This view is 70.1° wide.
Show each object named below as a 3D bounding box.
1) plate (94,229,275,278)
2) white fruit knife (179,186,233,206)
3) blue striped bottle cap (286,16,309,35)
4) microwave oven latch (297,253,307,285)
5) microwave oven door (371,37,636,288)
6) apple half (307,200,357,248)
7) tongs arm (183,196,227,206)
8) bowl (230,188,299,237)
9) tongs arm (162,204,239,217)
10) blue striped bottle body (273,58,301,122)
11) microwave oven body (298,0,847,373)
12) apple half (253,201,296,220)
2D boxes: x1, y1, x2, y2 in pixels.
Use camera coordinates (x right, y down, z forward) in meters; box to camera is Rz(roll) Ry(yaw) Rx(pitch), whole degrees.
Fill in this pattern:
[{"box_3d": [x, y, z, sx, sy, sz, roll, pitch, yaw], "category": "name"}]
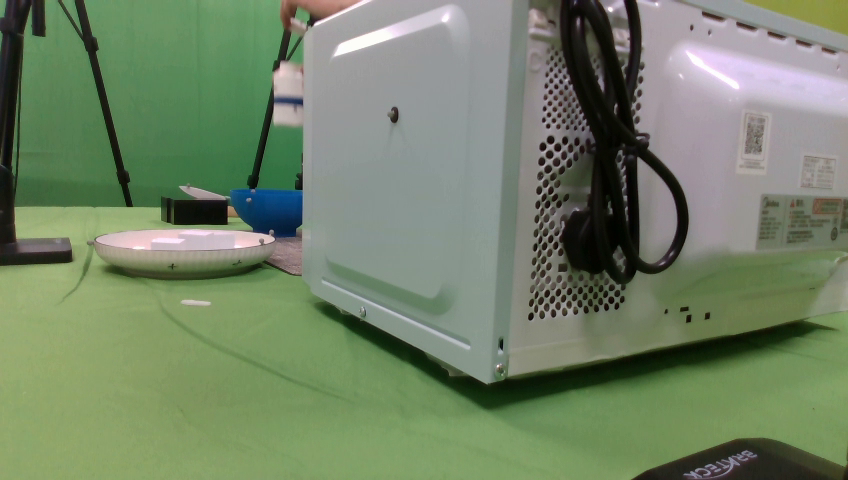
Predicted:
[{"box_3d": [-0.291, 0.016, 0.750, 0.208, 0.039, 0.207, 2, 7, 0], "category": "plate"}, {"box_3d": [-0.413, -0.081, 1.270, 0.208, 0.027, 0.016, 17, 13, -41], "category": "white fruit knife"}, {"box_3d": [-0.238, -0.407, 1.149, 0.045, 0.020, 0.044, 27, 21, -11], "category": "blue striped bottle cap"}, {"box_3d": [-0.081, 0.027, 0.582, 0.079, 0.029, 0.030, -1, 7, -32], "category": "microwave oven latch"}, {"box_3d": [0.109, -0.080, 0.686, 0.358, 0.243, 0.039, -2, 9, -33], "category": "microwave oven door"}, {"box_3d": [-0.135, -0.024, 0.941, 0.053, 0.074, 0.081, 13, 8, 39], "category": "apple half"}, {"box_3d": [-0.404, -0.081, 1.479, 0.385, 0.026, 0.050, 3, 9, -2], "category": "tongs arm"}, {"box_3d": [-0.265, -0.048, 1.066, 0.151, 0.077, 0.151, 3, 8, 0], "category": "bowl"}, {"box_3d": [-0.396, -0.066, 1.399, 0.389, 0.028, 0.028, 1, 6, -15], "category": "tongs arm"}, {"box_3d": [-0.266, -0.297, 1.196, 0.063, 0.120, 0.063, 2, 9, 0], "category": "blue striped bottle body"}, {"box_3d": [0.151, -0.055, 0.542, 0.444, 0.260, 0.324, -2, 7, -33], "category": "microwave oven body"}, {"box_3d": [-0.264, -0.053, 1.067, 0.081, 0.033, 0.081, 1, 8, 0], "category": "apple half"}]
